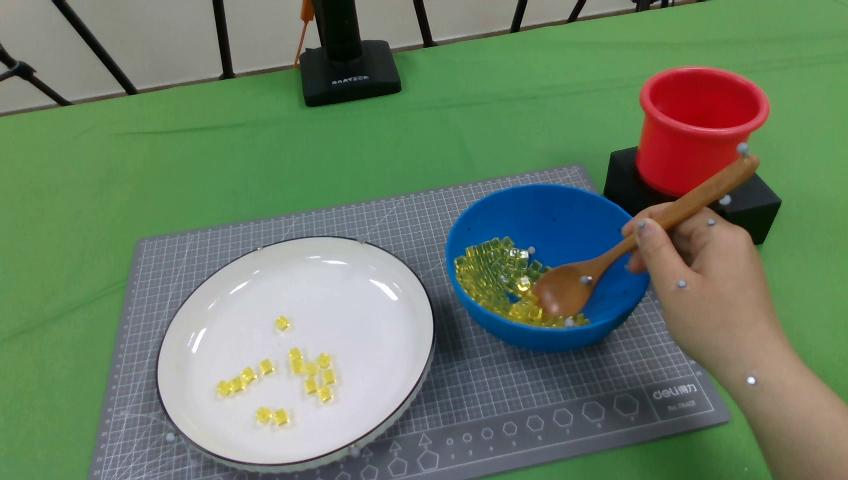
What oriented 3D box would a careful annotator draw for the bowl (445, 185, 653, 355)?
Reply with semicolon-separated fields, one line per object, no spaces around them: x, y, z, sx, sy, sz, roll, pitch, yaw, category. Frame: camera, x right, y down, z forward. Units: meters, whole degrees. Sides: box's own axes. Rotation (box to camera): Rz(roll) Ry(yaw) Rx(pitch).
0.092;0.035;0.470;0.151;0.077;0.150;-3;45;3;bowl

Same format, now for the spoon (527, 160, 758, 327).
0.139;0.007;0.413;0.022;0.194;0.041;0;59;-35;spoon

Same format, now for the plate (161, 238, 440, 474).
-0.091;0.083;0.468;0.207;0.039;0.205;-3;45;3;plate
